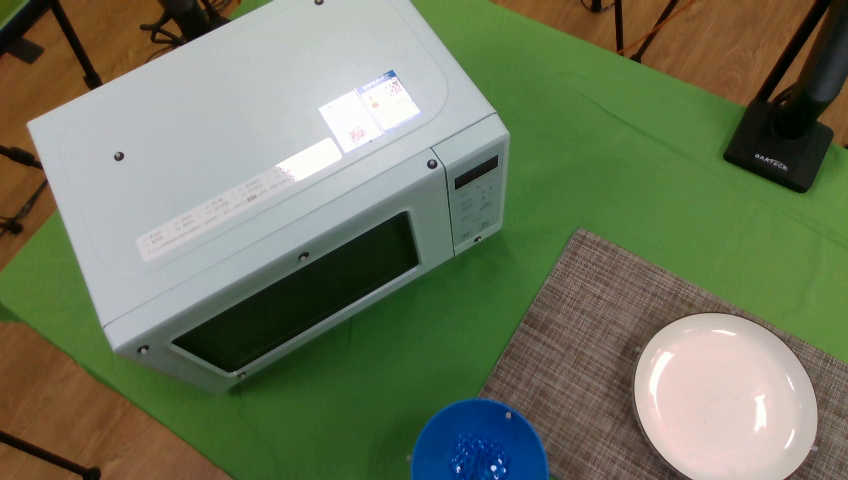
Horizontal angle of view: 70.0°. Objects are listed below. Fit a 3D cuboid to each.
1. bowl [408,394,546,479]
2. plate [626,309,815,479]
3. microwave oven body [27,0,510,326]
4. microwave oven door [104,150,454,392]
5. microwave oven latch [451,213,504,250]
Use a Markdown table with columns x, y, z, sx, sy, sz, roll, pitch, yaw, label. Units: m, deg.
| x | y | z | sx | sy | sz | roll | pitch | yaw | label |
| --- | --- | --- | --- | --- | --- | --- | --- | --- | --- |
| 0.060 | 0.258 | 0.692 | 0.151 | 0.077 | 0.150 | -2 | 67 | 4 | bowl |
| 0.344 | 0.186 | 0.717 | 0.207 | 0.039 | 0.206 | -1 | 67 | 4 | plate |
| -0.167 | -0.084 | 0.751 | 0.442 | 0.262 | 0.323 | -30 | 69 | -7 | microwave oven body |
| -0.130 | 0.047 | 0.687 | 0.356 | 0.245 | 0.039 | -30 | 67 | -8 | microwave oven door |
| 0.068 | -0.019 | 0.810 | 0.079 | 0.030 | 0.030 | -28 | 68 | -7 | microwave oven latch |
